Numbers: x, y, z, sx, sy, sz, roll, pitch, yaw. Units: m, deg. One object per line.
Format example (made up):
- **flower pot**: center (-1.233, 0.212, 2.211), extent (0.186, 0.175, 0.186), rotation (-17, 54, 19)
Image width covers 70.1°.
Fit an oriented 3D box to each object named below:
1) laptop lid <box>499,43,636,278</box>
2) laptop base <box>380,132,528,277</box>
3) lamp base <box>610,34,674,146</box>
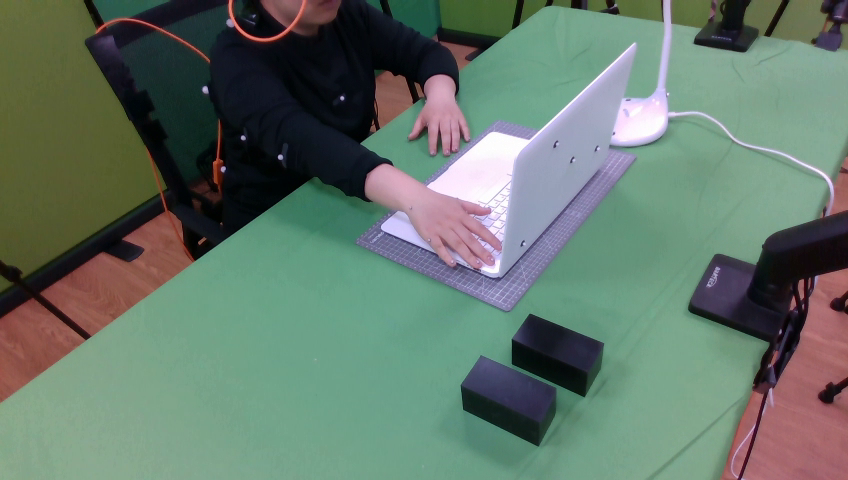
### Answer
- **laptop lid**: center (0.217, -0.121, 0.898), extent (0.013, 0.242, 0.358), rotation (28, 50, 25)
- **laptop base**: center (0.122, -0.077, 1.042), extent (0.233, 0.023, 0.355), rotation (20, 47, 33)
- **lamp base**: center (0.393, -0.291, 1.129), extent (0.180, 0.181, 0.159), rotation (-11, 41, -8)
